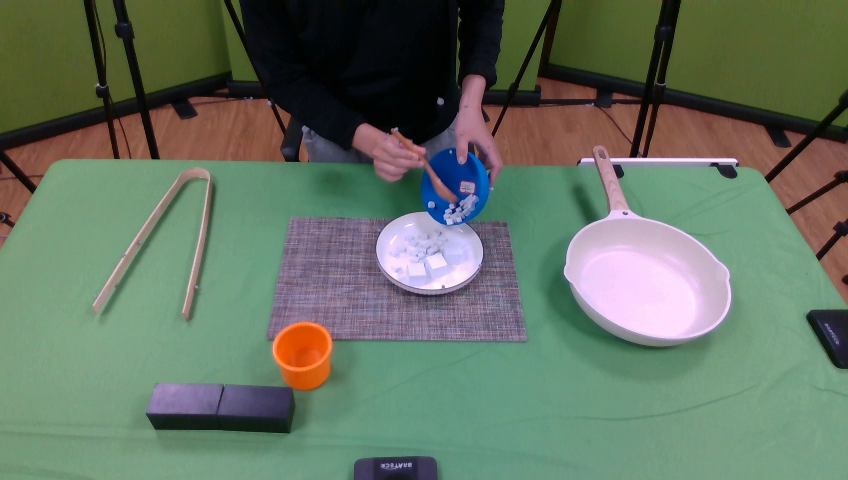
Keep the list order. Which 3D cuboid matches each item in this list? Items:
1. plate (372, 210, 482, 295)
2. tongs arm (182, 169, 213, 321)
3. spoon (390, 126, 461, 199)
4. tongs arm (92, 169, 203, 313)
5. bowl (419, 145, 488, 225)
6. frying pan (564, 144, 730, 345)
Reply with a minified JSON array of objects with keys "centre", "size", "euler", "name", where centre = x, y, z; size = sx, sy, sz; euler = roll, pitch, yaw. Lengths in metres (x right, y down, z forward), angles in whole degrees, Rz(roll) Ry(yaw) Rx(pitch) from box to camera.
[{"centre":[0.005,0.028,1.155],"size":[0.208,0.039,0.206],"euler":[2,46,-2],"name":"plate"},{"centre":[-0.436,-0.005,1.166],"size":[0.028,0.028,0.385],"euler":[-5,46,-6],"name":"tongs arm"},{"centre":[0.004,-0.138,1.099],"size":[0.021,0.195,0.041],"euler":[-49,28,-13],"name":"spoon"},{"centre":[-0.517,-0.012,1.160],"size":[0.051,0.026,0.382],"euler":[7,45,1],"name":"tongs arm"},{"centre":[0.072,-0.103,1.168],"size":[0.077,0.151,0.150],"euler":[-3,38,-49],"name":"bowl"},{"centre":[0.396,-0.008,1.179],"size":[0.307,0.103,0.484],"euler":[0,55,-5],"name":"frying pan"}]
